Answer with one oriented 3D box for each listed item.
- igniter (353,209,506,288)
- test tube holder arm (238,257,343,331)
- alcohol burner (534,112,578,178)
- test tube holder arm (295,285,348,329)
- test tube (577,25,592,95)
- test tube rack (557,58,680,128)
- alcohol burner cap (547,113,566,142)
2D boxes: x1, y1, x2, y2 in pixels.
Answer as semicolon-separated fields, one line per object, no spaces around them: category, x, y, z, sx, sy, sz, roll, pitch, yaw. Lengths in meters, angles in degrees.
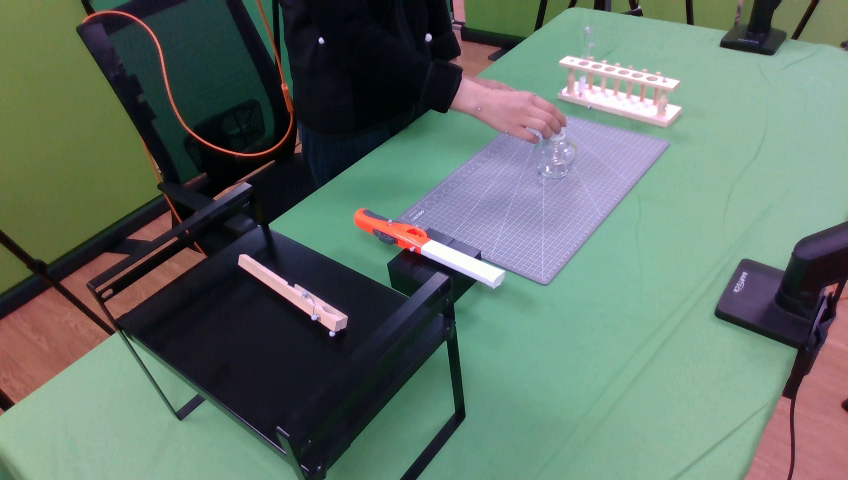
igniter;-0.003;0.006;0.892;0.274;0.025;0.057;24;37;31
test tube holder arm;-0.150;0.055;0.657;0.177;0.015;0.013;24;17;35
alcohol burner;0.233;-0.170;1.066;0.078;0.119;0.077;-5;39;4
test tube holder arm;-0.113;0.070;0.636;0.087;0.015;0.010;25;17;36
test tube;0.325;-0.362;1.227;0.017;0.151;0.017;-3;45;4
test tube rack;0.395;-0.309;1.230;0.240;0.085;0.067;25;50;33
alcohol burner cap;0.228;-0.196;1.042;0.034;0.048;0.033;-6;46;7
